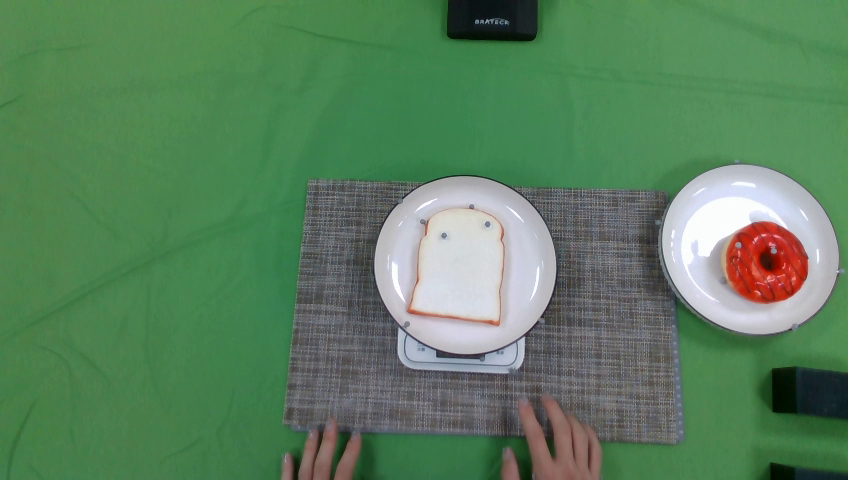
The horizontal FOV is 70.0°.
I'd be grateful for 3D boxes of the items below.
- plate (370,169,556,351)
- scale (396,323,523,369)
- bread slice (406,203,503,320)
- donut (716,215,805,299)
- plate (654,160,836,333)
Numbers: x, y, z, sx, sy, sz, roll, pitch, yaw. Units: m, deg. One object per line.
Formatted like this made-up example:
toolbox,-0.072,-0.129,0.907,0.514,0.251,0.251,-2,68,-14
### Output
plate,0.044,0.022,0.690,0.209,0.038,0.208,0,77,1
scale,0.045,0.048,0.718,0.148,0.032,0.200,3,77,2
bread slice,0.039,0.021,0.692,0.105,0.019,0.131,6,78,1
donut,0.392,0.021,0.707,0.099,0.048,0.098,0,81,-1
plate,0.375,0.008,0.722,0.208,0.039,0.206,0,77,1
